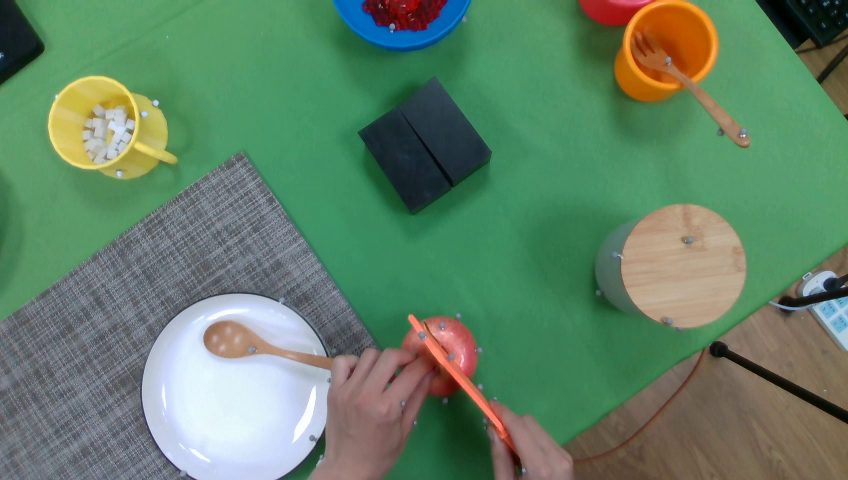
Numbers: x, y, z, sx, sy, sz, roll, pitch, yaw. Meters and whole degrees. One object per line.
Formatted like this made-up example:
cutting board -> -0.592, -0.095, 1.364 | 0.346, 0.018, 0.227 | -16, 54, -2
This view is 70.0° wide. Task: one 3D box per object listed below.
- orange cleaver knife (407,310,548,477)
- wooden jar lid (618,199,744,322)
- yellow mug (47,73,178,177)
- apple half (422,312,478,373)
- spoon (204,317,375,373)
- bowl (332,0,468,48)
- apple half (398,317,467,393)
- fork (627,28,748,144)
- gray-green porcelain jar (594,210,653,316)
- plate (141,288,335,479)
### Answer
orange cleaver knife -> 0.052, 0.147, 0.575 | 0.012, 0.076, 0.213 | -39, 113, -2
wooden jar lid -> 0.224, 0.018, 0.535 | 0.108, 0.021, 0.108 | 0, 90, 2
yellow mug -> -0.329, -0.117, 0.661 | 0.131, 0.064, 0.100 | 26, 89, 3
apple half -> 0.034, 0.099, 0.631 | 0.033, 0.081, 0.081 | -40, 86, 1
spoon -> -0.144, 0.117, 0.640 | 0.193, 0.022, 0.041 | 10, 77, 16
bowl -> -0.021, -0.268, 0.643 | 0.151, 0.077, 0.151 | 0, 88, 3
apple half -> 0.002, 0.126, 0.633 | 0.053, 0.074, 0.081 | -38, 91, 4
fork -> 0.252, -0.155, 0.589 | 0.028, 0.019, 0.205 | -19, 44, 1
gray-green porcelain jar -> 0.229, 0.022, 0.596 | 0.106, 0.126, 0.105 | 0, 87, 4
plate -> -0.197, 0.155, 0.655 | 0.209, 0.038, 0.209 | 0, 88, 3
